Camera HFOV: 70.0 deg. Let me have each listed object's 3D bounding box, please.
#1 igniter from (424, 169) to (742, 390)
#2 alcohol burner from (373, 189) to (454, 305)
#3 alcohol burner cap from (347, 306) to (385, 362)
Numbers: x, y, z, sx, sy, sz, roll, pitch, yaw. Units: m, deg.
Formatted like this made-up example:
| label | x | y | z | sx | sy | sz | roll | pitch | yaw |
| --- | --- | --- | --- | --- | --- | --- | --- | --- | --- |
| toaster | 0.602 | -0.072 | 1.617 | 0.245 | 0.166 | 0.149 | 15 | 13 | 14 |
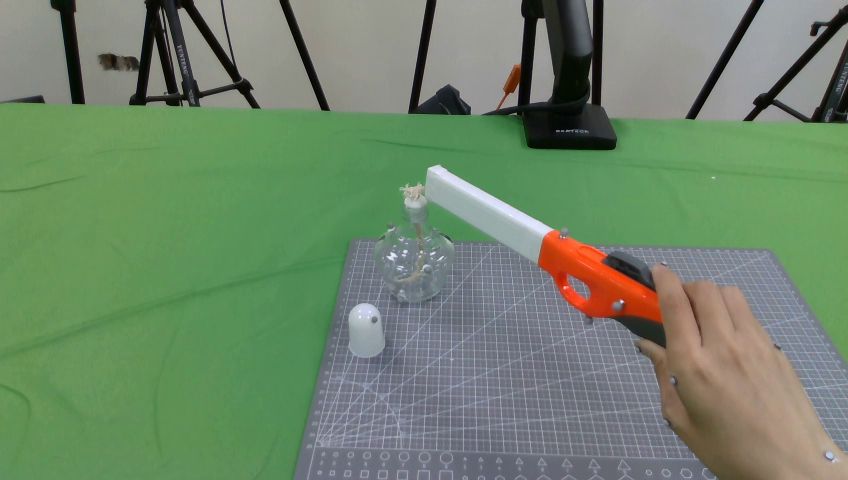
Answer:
| label | x | y | z | sx | sy | sz | roll | pitch | yaw |
| --- | --- | --- | --- | --- | --- | --- | --- | --- | --- |
| igniter | 0.097 | 0.015 | 0.437 | 0.025 | 0.057 | 0.273 | -23 | 43 | -36 |
| alcohol burner | -0.009 | 0.002 | 0.561 | 0.078 | 0.120 | 0.077 | 2 | 39 | -1 |
| alcohol burner cap | -0.051 | 0.078 | 0.519 | 0.034 | 0.048 | 0.033 | 1 | 38 | 0 |
